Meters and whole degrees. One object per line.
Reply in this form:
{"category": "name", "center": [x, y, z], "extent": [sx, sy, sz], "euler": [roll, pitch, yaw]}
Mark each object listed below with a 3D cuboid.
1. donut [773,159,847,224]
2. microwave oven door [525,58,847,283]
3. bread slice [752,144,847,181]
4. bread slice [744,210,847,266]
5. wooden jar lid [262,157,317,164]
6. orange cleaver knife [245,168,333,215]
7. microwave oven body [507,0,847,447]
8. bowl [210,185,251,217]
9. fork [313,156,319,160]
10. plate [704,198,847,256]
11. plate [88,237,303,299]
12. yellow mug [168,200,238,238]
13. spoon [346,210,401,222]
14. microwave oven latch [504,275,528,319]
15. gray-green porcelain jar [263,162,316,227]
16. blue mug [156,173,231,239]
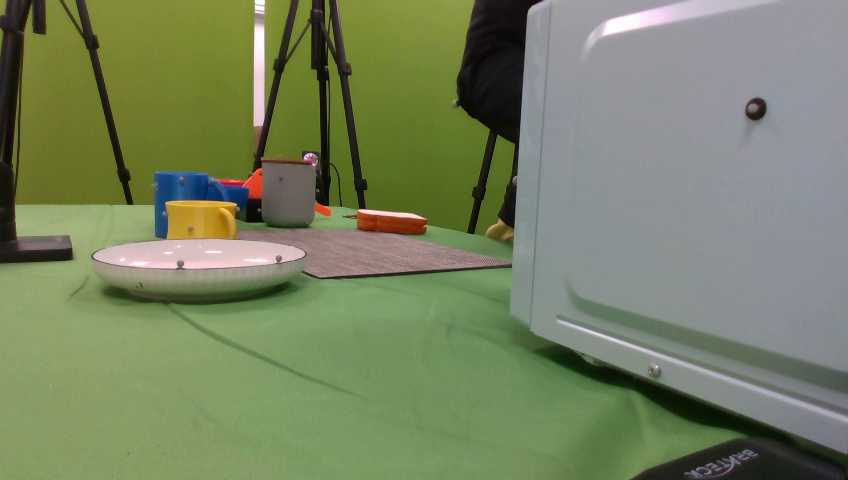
{"category": "donut", "center": [0.337, -0.040, 0.489], "extent": [0.099, 0.048, 0.099], "euler": [-12, 4, 1]}
{"category": "microwave oven door", "center": [0.300, -0.089, 0.748], "extent": [0.354, 0.243, 0.039], "euler": [6, 9, 32]}
{"category": "bread slice", "center": [0.339, -0.068, 0.484], "extent": [0.135, 0.018, 0.106], "euler": [-12, 2, -23]}
{"category": "bread slice", "center": [0.352, -0.006, 0.496], "extent": [0.132, 0.019, 0.104], "euler": [-15, 7, -13]}
{"category": "wooden jar lid", "center": [-0.269, -0.154, 1.208], "extent": [0.108, 0.020, 0.108], "euler": [3, 4, 0]}
{"category": "orange cleaver knife", "center": [-0.300, -0.089, 1.352], "extent": [0.212, 0.077, 0.012], "euler": [28, -9, -34]}
{"category": "microwave oven body", "center": [0.331, -0.042, 0.425], "extent": [0.444, 0.260, 0.324], "euler": [-2, 8, -31]}
{"category": "bowl", "center": [-0.408, -0.064, 1.155], "extent": [0.151, 0.077, 0.151], "euler": [2, 8, 0]}
{"category": "fork", "center": [-0.331, -0.144, 1.506], "extent": [0.207, 0.018, 0.028], "euler": [-42, -18, 22]}
{"category": "plate", "center": [0.340, -0.013, 0.489], "extent": [0.209, 0.038, 0.209], "euler": [-3, 4, 1]}
{"category": "plate", "center": [-0.233, 0.029, 0.636], "extent": [0.208, 0.039, 0.207], "euler": [2, 7, 0]}
{"category": "yellow mug", "center": [-0.320, -0.023, 0.904], "extent": [0.130, 0.064, 0.100], "euler": [9, 10, 36]}
{"category": "spoon", "center": [-0.120, -0.060, 1.400], "extent": [0.042, 0.021, 0.192], "euler": [-27, 25, -38]}
{"category": "microwave oven latch", "center": [0.100, 0.042, 0.470], "extent": [0.079, 0.029, 0.030], "euler": [-1, 7, -27]}
{"category": "gray-green porcelain jar", "center": [-0.271, -0.092, 1.217], "extent": [0.106, 0.126, 0.106], "euler": [2, 7, 0]}
{"category": "blue mug", "center": [-0.381, -0.057, 1.004], "extent": [0.117, 0.106, 0.082], "euler": [1, 8, -12]}
